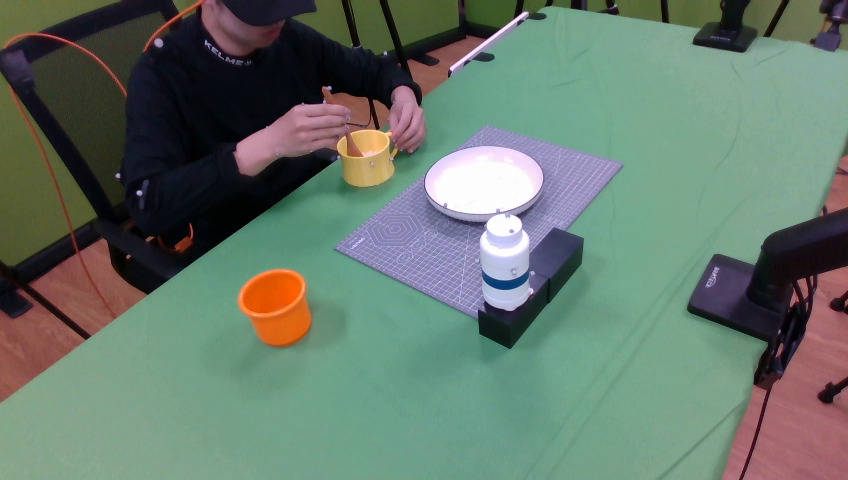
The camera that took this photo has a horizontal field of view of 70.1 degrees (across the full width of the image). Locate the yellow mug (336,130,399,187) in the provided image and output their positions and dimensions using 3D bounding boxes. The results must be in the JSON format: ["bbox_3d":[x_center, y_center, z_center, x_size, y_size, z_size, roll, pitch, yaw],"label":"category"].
[{"bbox_3d":[-0.098,-0.161,1.138,0.131,0.064,0.099,-33,47,-29],"label":"yellow mug"}]

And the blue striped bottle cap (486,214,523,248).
[{"bbox_3d":[0.098,-0.011,0.735,0.044,0.021,0.044,-3,38,3],"label":"blue striped bottle cap"}]

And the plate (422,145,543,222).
[{"bbox_3d":[0.101,-0.094,1.048,0.207,0.039,0.206,-4,41,4],"label":"plate"}]

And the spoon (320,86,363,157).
[{"bbox_3d":[-0.141,-0.193,1.059,0.041,0.195,0.021,10,54,27],"label":"spoon"}]

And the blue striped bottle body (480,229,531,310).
[{"bbox_3d":[0.104,0.027,0.769,0.063,0.121,0.063,-4,41,4],"label":"blue striped bottle body"}]
